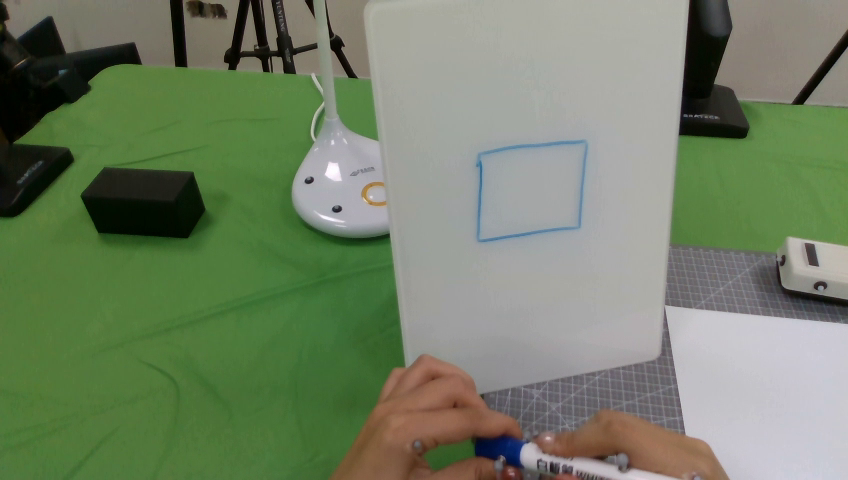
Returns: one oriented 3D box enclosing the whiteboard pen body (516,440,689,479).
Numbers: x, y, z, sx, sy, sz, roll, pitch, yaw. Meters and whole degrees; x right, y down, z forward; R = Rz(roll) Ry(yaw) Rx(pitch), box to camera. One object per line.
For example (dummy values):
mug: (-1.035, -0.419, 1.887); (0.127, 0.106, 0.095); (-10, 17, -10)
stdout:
whiteboard pen body: (0.094, 0.126, 0.328); (0.140, 0.017, 0.017); (1, 36, 39)

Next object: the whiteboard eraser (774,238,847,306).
whiteboard eraser: (0.386, 0.035, 0.558); (0.112, 0.042, 0.055); (10, 42, 12)

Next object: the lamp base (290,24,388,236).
lamp base: (-0.079, -0.122, 0.638); (0.161, 0.182, 0.177); (-29, 47, -28)

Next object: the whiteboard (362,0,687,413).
whiteboard: (0.070, -0.044, 0.499); (0.217, 0.307, 0.142); (-9, 23, -8)

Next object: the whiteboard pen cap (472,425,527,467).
whiteboard pen cap: (0.047, 0.123, 0.364); (0.033, 0.018, 0.018); (9, 42, 27)
